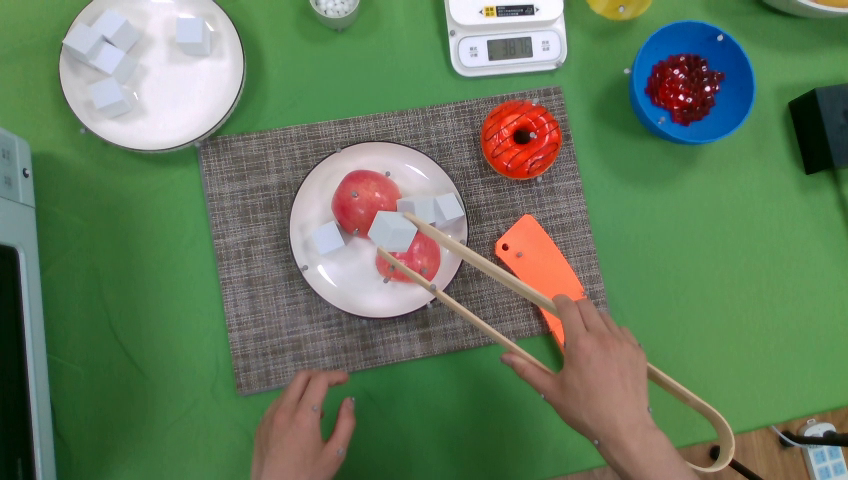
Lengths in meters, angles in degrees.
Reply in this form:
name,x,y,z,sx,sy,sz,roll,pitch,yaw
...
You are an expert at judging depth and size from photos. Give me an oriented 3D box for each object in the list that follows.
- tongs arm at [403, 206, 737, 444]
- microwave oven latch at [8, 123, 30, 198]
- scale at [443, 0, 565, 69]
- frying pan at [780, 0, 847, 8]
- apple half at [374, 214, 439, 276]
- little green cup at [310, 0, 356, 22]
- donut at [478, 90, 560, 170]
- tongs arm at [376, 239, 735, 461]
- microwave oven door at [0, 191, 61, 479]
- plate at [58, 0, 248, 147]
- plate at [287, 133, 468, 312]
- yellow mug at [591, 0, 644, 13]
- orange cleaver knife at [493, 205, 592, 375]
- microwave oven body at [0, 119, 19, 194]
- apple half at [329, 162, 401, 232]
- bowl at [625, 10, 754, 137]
name,x,y,z,sx,sy,sz,roll,pitch,yaw
tongs arm,0.134,0.075,0.603,0.386,0.028,0.028,34,66,11
microwave oven latch,-0.455,-0.086,0.665,0.030,0.029,0.079,-6,85,-6
scale,0.096,-0.319,0.759,0.149,0.031,0.200,-6,85,-5
frying pan,0.572,-0.353,0.767,0.307,0.103,0.486,-37,80,-7
apple half,-0.020,0.005,0.702,0.081,0.033,0.081,0,87,-1
little green cup,-0.110,-0.298,0.736,0.061,0.038,0.061,1,83,-4
donut,0.114,-0.133,0.731,0.099,0.048,0.099,0,85,-3
tongs arm,0.117,0.097,0.593,0.383,0.027,0.050,36,70,12
microwave oven door,-0.417,0.119,0.545,0.039,0.244,0.355,-8,84,-5
plate,-0.310,-0.207,0.709,0.208,0.039,0.207,1,84,-5
plate,-0.053,-0.020,0.708,0.209,0.038,0.208,1,84,-5
yellow mug,0.240,-0.359,0.758,0.100,0.064,0.131,-43,88,-7
orange cleaver knife,0.158,0.059,0.728,0.077,0.012,0.211,-29,86,-12
microwave oven body,-0.568,0.097,0.540,0.326,0.260,0.440,-8,85,-6
apple half,-0.068,-0.054,0.695,0.074,0.053,0.080,33,81,2
bowl,0.310,-0.191,0.741,0.151,0.077,0.151,1,85,-5
